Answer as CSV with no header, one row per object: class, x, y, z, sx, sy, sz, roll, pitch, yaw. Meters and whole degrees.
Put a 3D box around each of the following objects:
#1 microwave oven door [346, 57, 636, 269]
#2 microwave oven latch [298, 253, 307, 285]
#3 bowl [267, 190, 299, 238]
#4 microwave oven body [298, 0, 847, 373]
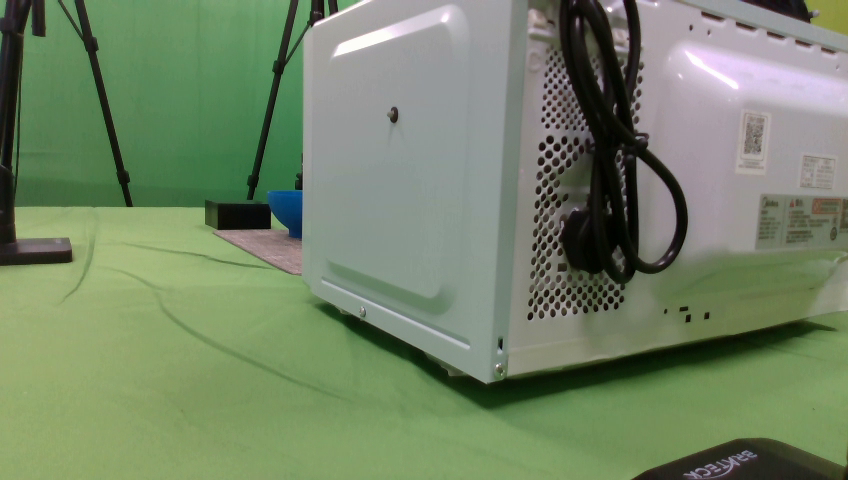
microwave oven door,0.086,-0.088,0.744,0.357,0.243,0.039,1,8,-12
microwave oven latch,-0.081,0.027,0.582,0.079,0.029,0.030,-1,7,-32
bowl,-0.202,-0.046,1.070,0.151,0.077,0.151,3,7,0
microwave oven body,0.151,-0.055,0.543,0.444,0.260,0.324,-2,7,-33
